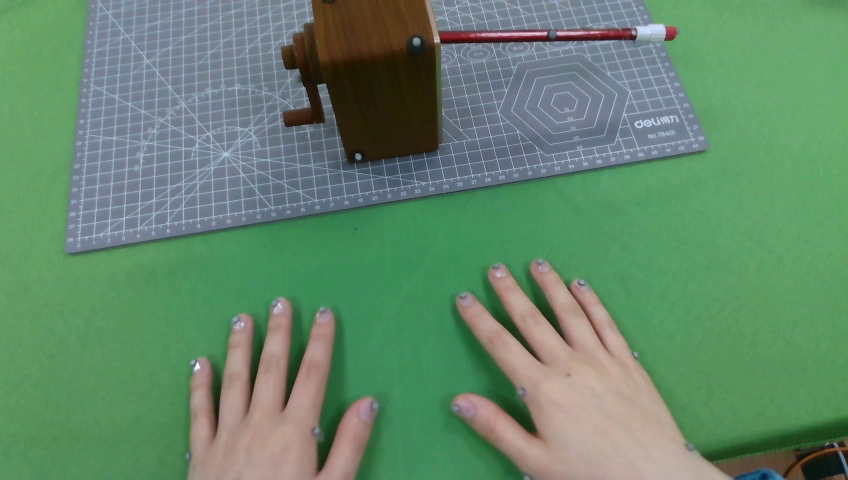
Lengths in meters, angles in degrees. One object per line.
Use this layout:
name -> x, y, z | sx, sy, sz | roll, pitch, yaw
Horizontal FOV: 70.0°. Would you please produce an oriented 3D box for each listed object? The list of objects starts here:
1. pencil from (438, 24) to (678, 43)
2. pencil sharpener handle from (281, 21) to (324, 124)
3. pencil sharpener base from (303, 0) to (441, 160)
pencil -> 0.070, -0.131, 0.384 | 0.194, 0.012, 0.012 | -4, 64, -9
pencil sharpener handle -> -0.081, -0.101, 0.380 | 0.031, 0.068, 0.035 | -10, 50, -3
pencil sharpener base -> -0.031, -0.108, 0.396 | 0.077, 0.108, 0.061 | -10, 64, -3
